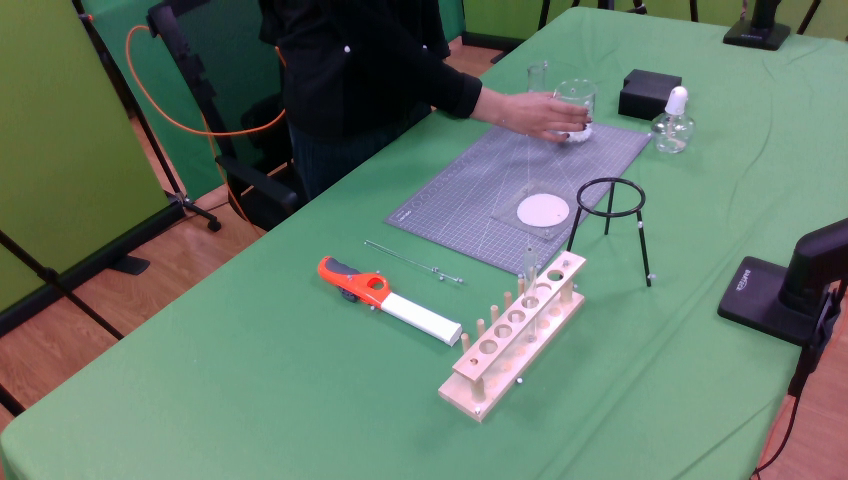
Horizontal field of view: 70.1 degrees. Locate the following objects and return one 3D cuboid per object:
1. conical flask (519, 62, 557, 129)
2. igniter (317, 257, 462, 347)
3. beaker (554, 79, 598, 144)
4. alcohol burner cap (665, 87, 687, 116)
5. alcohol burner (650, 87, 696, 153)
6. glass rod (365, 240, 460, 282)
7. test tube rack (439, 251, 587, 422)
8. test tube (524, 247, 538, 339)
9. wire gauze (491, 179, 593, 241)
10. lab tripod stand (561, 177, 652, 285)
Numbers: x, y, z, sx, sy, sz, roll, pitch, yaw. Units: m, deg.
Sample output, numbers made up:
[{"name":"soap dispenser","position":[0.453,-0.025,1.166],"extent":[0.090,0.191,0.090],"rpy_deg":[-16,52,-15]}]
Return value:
[{"name":"conical flask","position":[0.225,-0.287,1.198],"extent":[0.075,0.122,0.075],"rpy_deg":[-6,40,5]},{"name":"igniter","position":[-0.061,0.086,0.891],"extent":[0.274,0.025,0.057],"rpy_deg":[23,59,33]},{"name":"beaker","position":[0.284,-0.239,1.141],"extent":[0.084,0.101,0.073],"rpy_deg":[-16,41,-7]},{"name":"alcohol burner cap","position":[0.445,-0.244,1.060],"extent":[0.034,0.048,0.033],"rpy_deg":[-2,45,3]},{"name":"alcohol burner","position":[0.448,-0.217,1.084],"extent":[0.078,0.119,0.077],"rpy_deg":[-6,38,5]},{"name":"glass rod","position":[-0.022,0.032,0.961],"extent":[0.198,0.008,0.008],"rpy_deg":[21,49,34]},{"name":"test tube rack","position":[0.118,0.111,0.780],"extent":[0.066,0.085,0.243],"rpy_deg":[26,51,34]},{"name":"test tube","position":[0.133,0.070,0.749],"extent":[0.017,0.151,0.017],"rpy_deg":[-5,38,4]},{"name":"wire gauze","position":[0.198,-0.051,1.014],"extent":[0.125,0.011,0.120],"rpy_deg":[-38,48,-27]},{"name":"lab tripod stand","position":[0.263,-0.014,0.864],"extent":[0.148,0.132,0.147],"rpy_deg":[-7,38,6]}]
